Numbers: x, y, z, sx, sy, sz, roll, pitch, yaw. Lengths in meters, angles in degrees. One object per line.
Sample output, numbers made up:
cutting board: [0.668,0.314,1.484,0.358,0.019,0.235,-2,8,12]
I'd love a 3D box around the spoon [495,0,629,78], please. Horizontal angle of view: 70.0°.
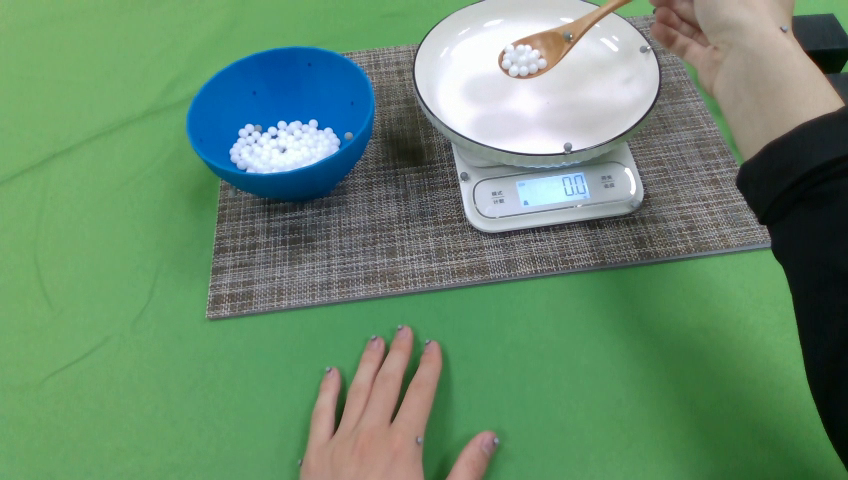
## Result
spoon: [0.144,-0.178,0.462,0.193,0.022,0.041,-26,62,19]

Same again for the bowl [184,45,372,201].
bowl: [-0.114,-0.086,0.514,0.151,0.077,0.150,-2,55,3]

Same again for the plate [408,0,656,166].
plate: [0.090,-0.139,0.525,0.209,0.038,0.207,-1,55,2]

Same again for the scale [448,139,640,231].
scale: [0.094,-0.101,0.539,0.149,0.032,0.199,-8,55,-1]
